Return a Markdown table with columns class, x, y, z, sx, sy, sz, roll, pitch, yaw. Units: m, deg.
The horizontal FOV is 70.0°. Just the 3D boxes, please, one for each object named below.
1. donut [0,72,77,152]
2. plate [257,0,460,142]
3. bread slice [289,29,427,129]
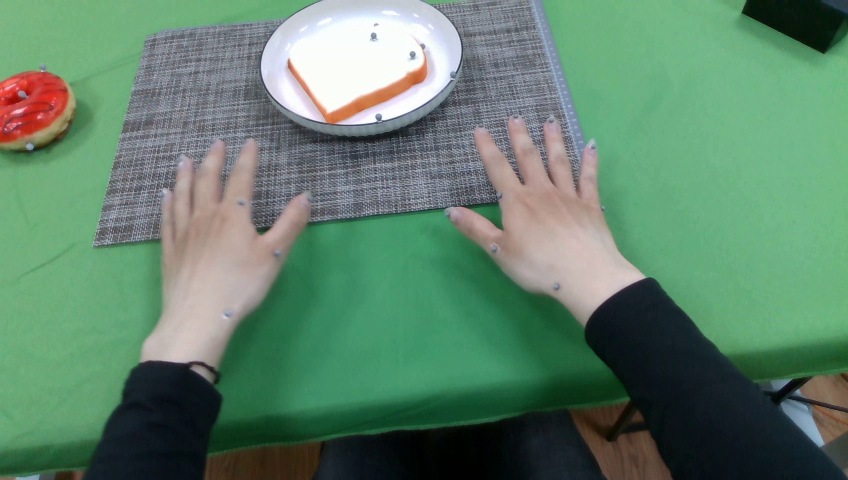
| class | x | y | z | sx | sy | sz | roll | pitch | yaw |
| --- | --- | --- | --- | --- | --- | --- | --- | --- | --- |
| donut | -0.409 | -0.132 | 0.622 | 0.099 | 0.049 | 0.098 | -3 | 56 | 4 |
| plate | -0.066 | -0.175 | 0.632 | 0.207 | 0.039 | 0.205 | -1 | 56 | 2 |
| bread slice | -0.065 | -0.177 | 0.635 | 0.131 | 0.019 | 0.104 | -28 | 59 | -14 |
